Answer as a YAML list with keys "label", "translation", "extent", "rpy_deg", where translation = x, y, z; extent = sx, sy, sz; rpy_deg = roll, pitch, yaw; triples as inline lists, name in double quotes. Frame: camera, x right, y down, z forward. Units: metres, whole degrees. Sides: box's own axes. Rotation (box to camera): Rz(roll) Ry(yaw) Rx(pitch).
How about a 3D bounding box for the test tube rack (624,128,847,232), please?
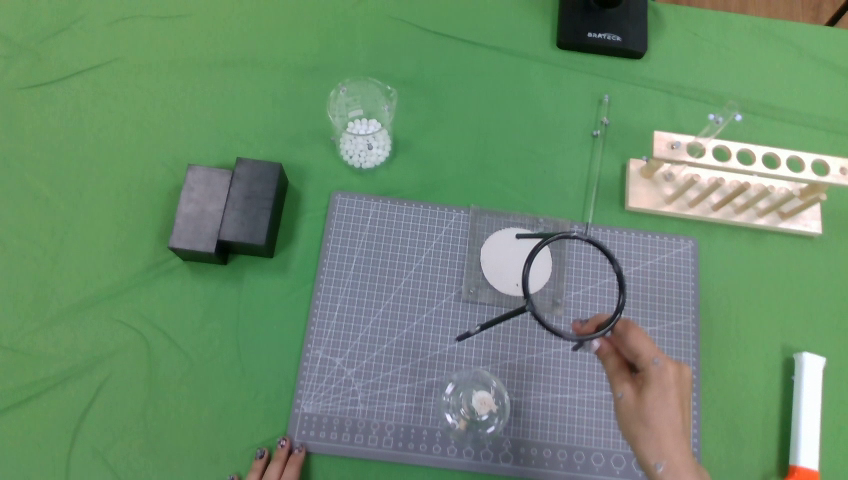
- label: "test tube rack"
  translation: [0.373, -0.069, 0.724]
  extent: [0.242, 0.085, 0.066]
  rpy_deg: [8, 72, -1]

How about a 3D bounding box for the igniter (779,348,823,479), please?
- label: "igniter"
  translation: [0.409, 0.255, 0.658]
  extent: [0.057, 0.025, 0.275]
  rpy_deg: [17, 73, -9]

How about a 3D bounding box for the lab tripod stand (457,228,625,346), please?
- label: "lab tripod stand"
  translation: [0.106, 0.045, 0.545]
  extent: [0.149, 0.132, 0.147]
  rpy_deg: [3, 75, -11]

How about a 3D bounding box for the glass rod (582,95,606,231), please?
- label: "glass rod"
  translation: [0.214, -0.095, 0.760]
  extent: [0.008, 0.008, 0.198]
  rpy_deg: [12, 74, 0]

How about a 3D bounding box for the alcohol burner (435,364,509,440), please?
- label: "alcohol burner"
  translation: [0.051, 0.163, 0.615]
  extent: [0.078, 0.119, 0.077]
  rpy_deg: [2, 71, -5]

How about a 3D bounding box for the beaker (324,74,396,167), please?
- label: "beaker"
  translation: [-0.071, -0.137, 0.708]
  extent: [0.084, 0.100, 0.073]
  rpy_deg: [-30, 77, -13]

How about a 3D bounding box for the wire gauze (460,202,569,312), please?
- label: "wire gauze"
  translation: [0.108, 0.017, 0.718]
  extent: [0.125, 0.011, 0.121]
  rpy_deg: [9, 72, 0]

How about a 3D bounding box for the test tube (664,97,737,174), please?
- label: "test tube"
  translation: [0.306, -0.113, 0.681]
  extent: [0.017, 0.151, 0.017]
  rpy_deg: [1, 69, -2]
